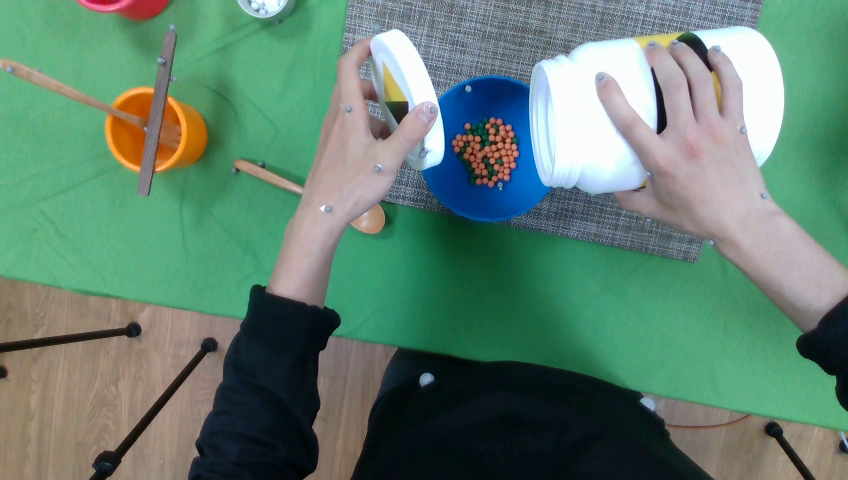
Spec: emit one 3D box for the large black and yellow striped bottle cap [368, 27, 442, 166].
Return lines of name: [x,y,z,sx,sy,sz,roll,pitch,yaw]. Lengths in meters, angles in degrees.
large black and yellow striped bottle cap: [-0.018,-0.118,0.506,0.019,0.114,0.115,-22,96,-15]

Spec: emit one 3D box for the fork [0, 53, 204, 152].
fork: [-0.335,-0.143,0.645,0.209,0.018,0.028,23,103,-44]

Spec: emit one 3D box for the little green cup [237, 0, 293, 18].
little green cup: [-0.176,-0.278,0.673,0.061,0.038,0.061,0,98,4]

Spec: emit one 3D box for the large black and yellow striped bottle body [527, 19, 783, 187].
large black and yellow striped bottle body: [0.192,-0.116,0.534,0.184,0.130,0.131,-7,97,0]

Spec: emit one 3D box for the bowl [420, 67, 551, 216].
bowl: [0.069,-0.104,0.661,0.151,0.076,0.151,0,98,3]

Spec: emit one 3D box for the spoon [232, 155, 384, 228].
spoon: [-0.136,-0.062,0.709,0.194,0.021,0.042,22,112,-1]

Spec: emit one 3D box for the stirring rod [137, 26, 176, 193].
stirring rod: [-0.283,-0.136,0.640,0.014,0.006,0.176,13,98,0]
